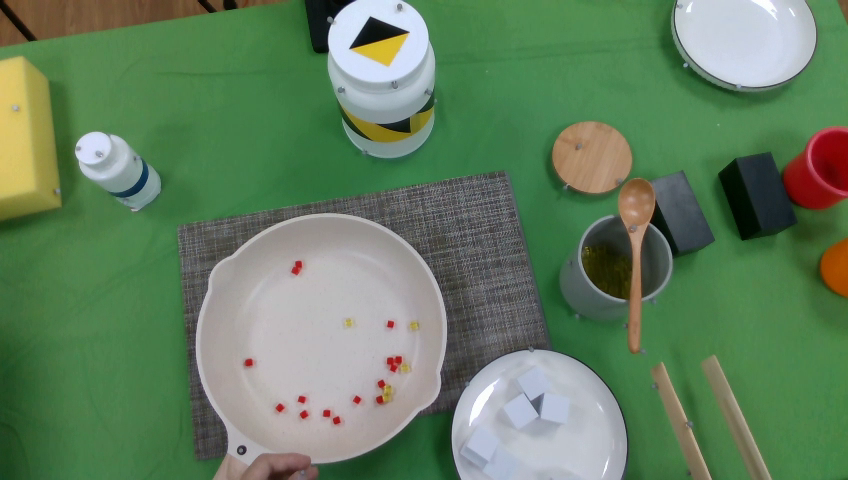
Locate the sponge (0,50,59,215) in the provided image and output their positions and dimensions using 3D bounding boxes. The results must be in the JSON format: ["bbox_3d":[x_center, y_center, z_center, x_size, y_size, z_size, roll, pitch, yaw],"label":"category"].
[{"bbox_3d":[-0.576,-0.140,0.813,0.118,0.061,0.205,-15,75,-5],"label":"sponge"}]

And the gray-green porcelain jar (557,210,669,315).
[{"bbox_3d":[0.222,0.033,0.736,0.106,0.127,0.105,0,73,0],"label":"gray-green porcelain jar"}]

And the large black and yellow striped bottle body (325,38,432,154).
[{"bbox_3d":[-0.054,-0.205,0.774,0.131,0.185,0.130,0,73,0],"label":"large black and yellow striped bottle body"}]

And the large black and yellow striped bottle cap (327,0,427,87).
[{"bbox_3d":[-0.053,-0.231,0.693,0.115,0.019,0.114,0,75,0],"label":"large black and yellow striped bottle cap"}]

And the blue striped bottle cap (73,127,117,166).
[{"bbox_3d":[-0.393,-0.112,0.722,0.044,0.021,0.044,0,75,-1],"label":"blue striped bottle cap"}]

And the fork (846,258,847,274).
[{"bbox_3d":[0.532,-0.023,0.742,0.028,0.018,0.209,-23,119,1],"label":"fork"}]

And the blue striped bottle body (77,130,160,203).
[{"bbox_3d":[-0.392,-0.096,0.771,0.063,0.121,0.062,0,73,0],"label":"blue striped bottle body"}]

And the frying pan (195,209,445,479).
[{"bbox_3d":[-0.173,0.190,0.695,0.306,0.103,0.486,29,67,9],"label":"frying pan"}]

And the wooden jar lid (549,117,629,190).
[{"bbox_3d":[0.226,-0.117,0.836,0.108,0.021,0.108,0,75,0],"label":"wooden jar lid"}]

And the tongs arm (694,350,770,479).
[{"bbox_3d":[0.365,0.299,0.634,0.028,0.028,0.383,4,57,-26],"label":"tongs arm"}]

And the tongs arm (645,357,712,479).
[{"bbox_3d":[0.322,0.300,0.615,0.051,0.026,0.381,0,59,-25],"label":"tongs arm"}]

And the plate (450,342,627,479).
[{"bbox_3d":[0.134,0.227,0.723,0.208,0.039,0.206,0,75,-1],"label":"plate"}]

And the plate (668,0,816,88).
[{"bbox_3d":[0.457,-0.310,0.883,0.209,0.038,0.208,0,74,0],"label":"plate"}]

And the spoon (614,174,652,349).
[{"bbox_3d":[0.229,0.022,0.667,0.041,0.022,0.193,6,77,-3],"label":"spoon"}]
